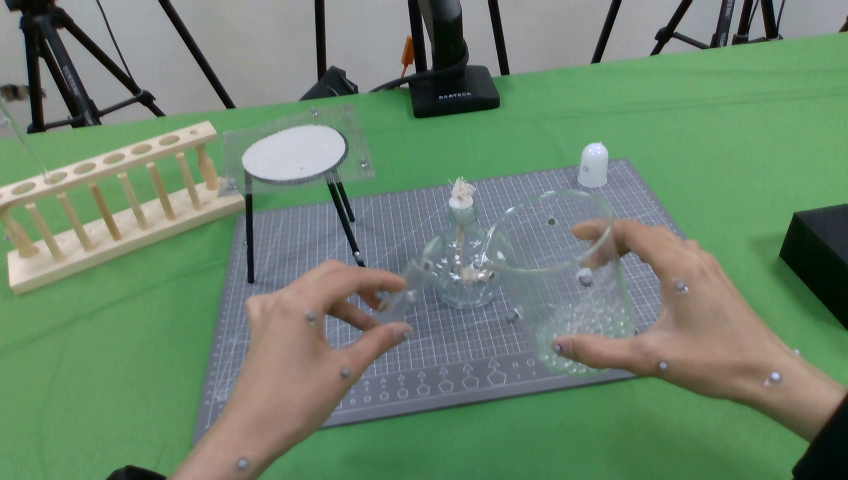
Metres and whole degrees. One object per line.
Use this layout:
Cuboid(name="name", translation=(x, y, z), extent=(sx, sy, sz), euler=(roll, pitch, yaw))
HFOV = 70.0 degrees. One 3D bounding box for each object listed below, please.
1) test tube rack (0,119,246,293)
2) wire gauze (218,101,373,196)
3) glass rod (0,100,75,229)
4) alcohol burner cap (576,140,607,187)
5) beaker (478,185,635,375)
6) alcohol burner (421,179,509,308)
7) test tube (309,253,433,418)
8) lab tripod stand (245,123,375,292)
Cuboid(name="test tube rack", translation=(-0.326, -0.041, 0.646), extent=(0.243, 0.086, 0.066), euler=(-24, 43, -20))
Cuboid(name="wire gauze", translation=(-0.113, -0.079, 0.515), extent=(0.125, 0.011, 0.120), euler=(-12, 40, -6))
Cuboid(name="glass rod", translation=(-0.380, -0.077, 0.591), extent=(0.008, 0.201, 0.008), euler=(-3, 44, 3))
Cuboid(name="alcohol burner cap", translation=(0.184, -0.086, 0.662), extent=(0.034, 0.048, 0.033), euler=(-3, 40, 3))
Cuboid(name="beaker", translation=(0.086, 0.029, 0.375), extent=(0.084, 0.101, 0.073), euler=(-24, 34, 3))
Cuboid(name="alcohol burner", translation=(0.034, 0.000, 0.522), extent=(0.078, 0.120, 0.077), euler=(-4, 38, 4))
Cuboid(name="test tube", translation=(-0.038, 0.067, 0.394), extent=(0.017, 0.150, 0.017), euler=(27, 28, -15))
Cuboid(name="lab tripod stand", translation=(-0.106, -0.028, 0.558), extent=(0.148, 0.133, 0.147), euler=(-4, 42, 4))
